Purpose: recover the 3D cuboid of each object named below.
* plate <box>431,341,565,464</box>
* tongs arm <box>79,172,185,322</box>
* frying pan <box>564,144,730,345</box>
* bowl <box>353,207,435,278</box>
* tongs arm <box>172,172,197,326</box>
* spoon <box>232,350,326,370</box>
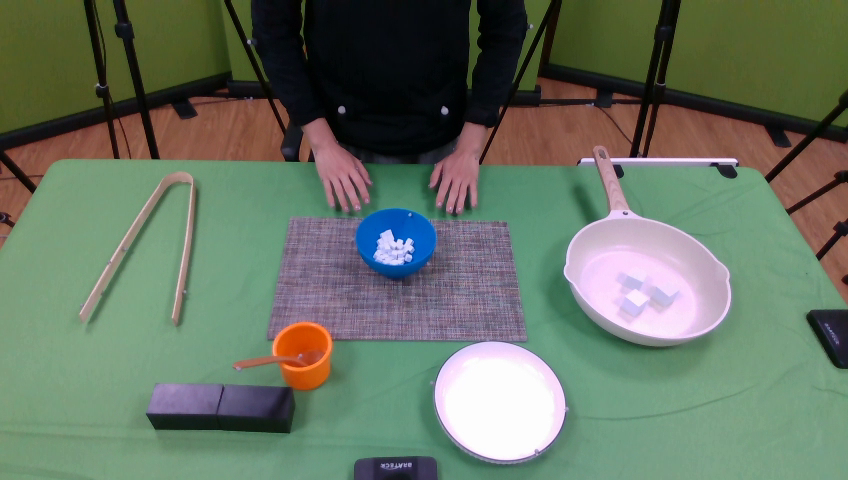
[{"bbox_3d":[0.114,0.255,0.952,0.208,0.039,0.206,3,46,-2],"label":"plate"},{"bbox_3d":[-0.540,-0.002,1.147,0.051,0.026,0.382,6,45,-1],"label":"tongs arm"},{"bbox_3d":[0.396,-0.008,1.179,0.307,0.103,0.484,0,55,-5],"label":"frying pan"},{"bbox_3d":[-0.056,0.018,1.132,0.151,0.077,0.150,2,46,-2],"label":"bowl"},{"bbox_3d":[-0.459,0.003,1.156,0.028,0.028,0.385,-7,47,-8],"label":"tongs arm"},{"bbox_3d":[-0.216,0.182,0.919,0.041,0.194,0.021,43,102,27],"label":"spoon"}]
